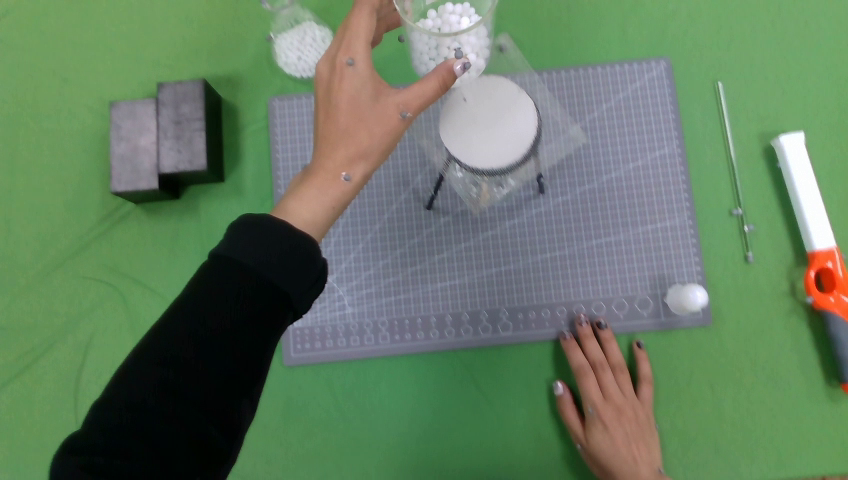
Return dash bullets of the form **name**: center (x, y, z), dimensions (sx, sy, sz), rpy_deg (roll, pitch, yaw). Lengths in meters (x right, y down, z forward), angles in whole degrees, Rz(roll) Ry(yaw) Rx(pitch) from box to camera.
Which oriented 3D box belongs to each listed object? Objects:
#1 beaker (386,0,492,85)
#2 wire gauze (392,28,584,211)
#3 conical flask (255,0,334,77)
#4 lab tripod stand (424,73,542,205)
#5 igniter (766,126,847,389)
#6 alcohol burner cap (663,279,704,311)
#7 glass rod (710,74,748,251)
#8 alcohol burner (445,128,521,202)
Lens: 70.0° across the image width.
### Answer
- **beaker**: center (0.017, -0.167, 0.454), dimensions (0.084, 0.100, 0.074), rpy_deg (-29, 82, -1)
- **wire gauze**: center (0.055, -0.106, 0.530), dimensions (0.125, 0.011, 0.121), rpy_deg (-35, 84, -3)
- **conical flask**: center (-0.140, -0.227, 0.627), dimensions (0.075, 0.122, 0.075), rpy_deg (0, 81, 2)
- **lab tripod stand**: center (0.056, -0.091, 0.597), dimensions (0.148, 0.132, 0.148), rpy_deg (0, 84, 1)
- **igniter**: center (0.412, 0.015, 0.631), dimensions (0.057, 0.025, 0.275), rpy_deg (-11, 82, -11)
- **alcohol burner cap**: center (0.267, 0.054, 0.618), dimensions (0.034, 0.048, 0.033), rpy_deg (0, 81, 2)
- **glass rod**: center (0.330, -0.086, 0.657), dimensions (0.008, 0.008, 0.199), rpy_deg (-6, 82, 0)
- **alcohol burner**: center (0.060, -0.080, 0.605), dimensions (0.078, 0.119, 0.077), rpy_deg (0, 80, 0)
